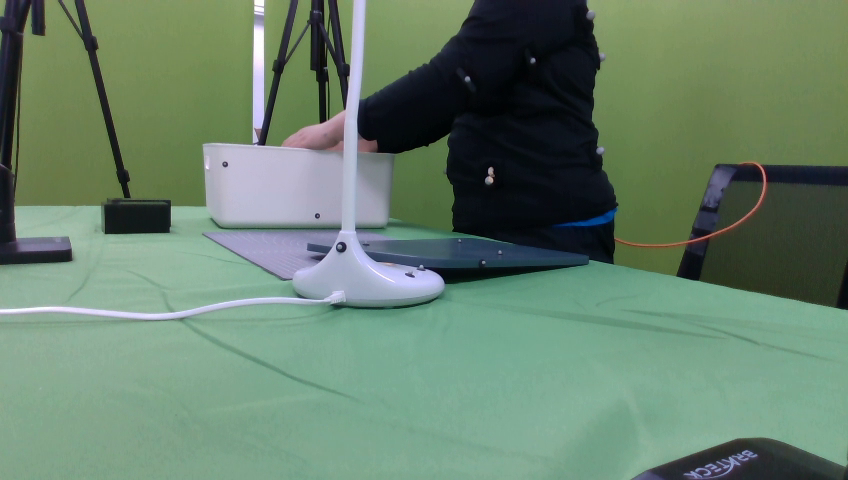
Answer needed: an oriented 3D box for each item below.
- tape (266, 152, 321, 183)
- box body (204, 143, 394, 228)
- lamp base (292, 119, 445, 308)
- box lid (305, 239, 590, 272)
[{"bbox_3d":[-0.278,-0.155,1.288,0.117,0.052,0.117,7,6,0],"label":"tape"},{"bbox_3d":[-0.271,-0.117,1.291,0.366,0.160,0.253,-1,8,-25],"label":"box body"},{"bbox_3d":[-0.056,-0.030,0.616,0.160,0.180,0.179,4,10,8],"label":"lamp base"},{"bbox_3d":[0.042,0.019,0.879,0.262,0.015,0.374,7,5,44],"label":"box lid"}]
